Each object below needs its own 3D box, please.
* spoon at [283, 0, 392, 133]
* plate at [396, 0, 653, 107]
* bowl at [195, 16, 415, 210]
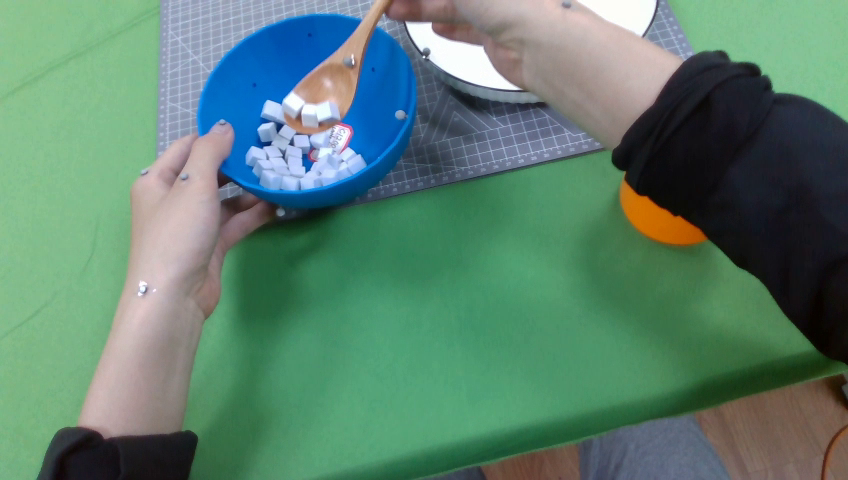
[{"bbox_3d":[-0.026,-0.149,0.387,0.041,0.022,0.194,37,95,17],"label":"spoon"},{"bbox_3d":[0.081,-0.193,0.512,0.209,0.038,0.207,-3,64,6],"label":"plate"},{"bbox_3d":[-0.077,-0.078,0.442,0.151,0.077,0.150,-2,65,5],"label":"bowl"}]
